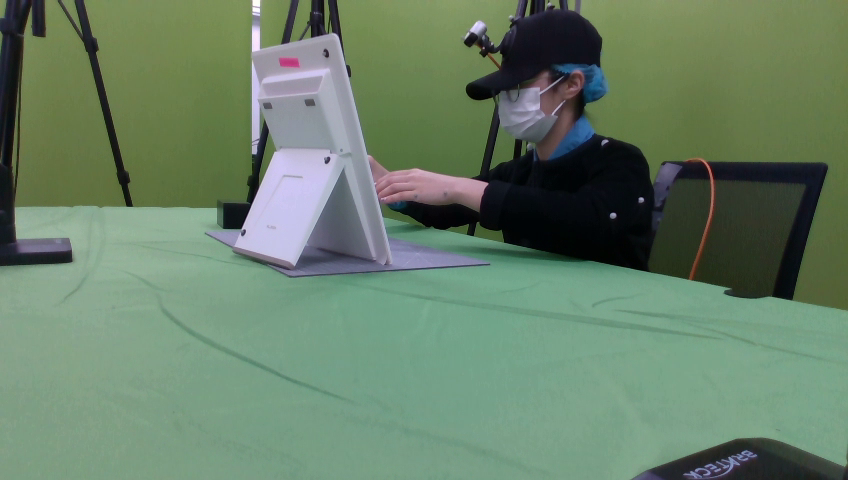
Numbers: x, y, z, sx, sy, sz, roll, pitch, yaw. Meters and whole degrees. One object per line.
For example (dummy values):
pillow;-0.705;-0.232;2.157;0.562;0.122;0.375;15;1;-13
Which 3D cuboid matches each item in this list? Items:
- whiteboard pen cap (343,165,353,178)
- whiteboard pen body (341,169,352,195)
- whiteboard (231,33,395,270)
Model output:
whiteboard pen cap;-0.139;-0.125;1.106;0.017;0.017;0.032;1;-14;-11
whiteboard pen body;-0.149;-0.112;1.163;0.017;0.017;0.140;1;-13;-10
whiteboard;-0.193;-0.094;0.805;0.144;0.305;0.216;-28;25;-35
